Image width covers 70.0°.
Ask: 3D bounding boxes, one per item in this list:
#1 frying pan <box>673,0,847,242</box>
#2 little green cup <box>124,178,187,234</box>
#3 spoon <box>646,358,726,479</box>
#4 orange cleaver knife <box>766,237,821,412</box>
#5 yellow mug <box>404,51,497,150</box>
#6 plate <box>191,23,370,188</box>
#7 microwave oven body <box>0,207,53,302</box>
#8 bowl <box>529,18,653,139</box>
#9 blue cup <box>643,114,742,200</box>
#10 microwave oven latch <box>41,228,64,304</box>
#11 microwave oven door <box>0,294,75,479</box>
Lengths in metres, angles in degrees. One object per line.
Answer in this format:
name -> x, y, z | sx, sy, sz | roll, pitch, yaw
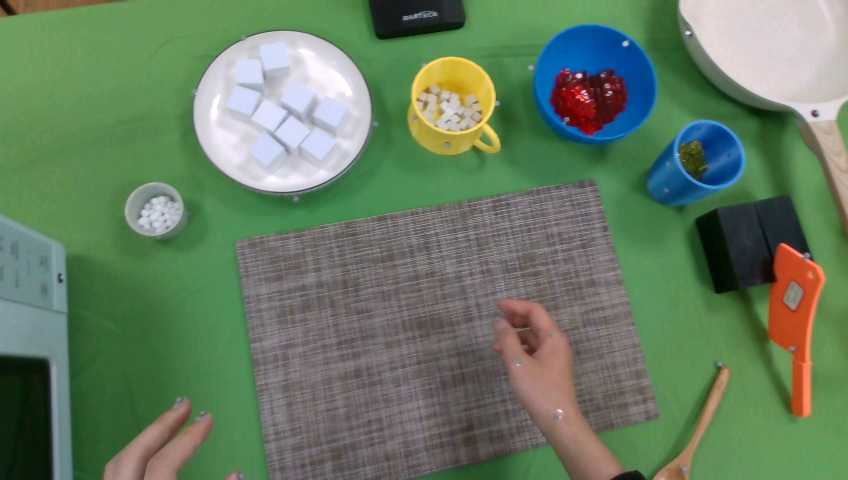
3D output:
frying pan -> 0.479, -0.212, 0.778 | 0.307, 0.103, 0.484 | -6, 71, -6
little green cup -> -0.302, -0.036, 0.688 | 0.061, 0.039, 0.061 | 1, 79, -6
spoon -> 0.315, 0.222, 0.711 | 0.041, 0.022, 0.193 | 31, 76, 14
orange cleaver knife -> 0.434, 0.101, 0.719 | 0.012, 0.076, 0.212 | -11, 108, -8
yellow mug -> 0.039, -0.159, 0.739 | 0.131, 0.064, 0.100 | 41, 77, 2
plate -> -0.169, -0.159, 0.730 | 0.208, 0.039, 0.206 | 1, 78, -6
microwave oven body -> -0.514, 0.198, 0.500 | 0.326, 0.261, 0.439 | -7, 80, -8
bowl -> 0.196, -0.188, 0.756 | 0.151, 0.077, 0.150 | 1, 78, -6
blue cup -> 0.316, -0.092, 0.735 | 0.093, 0.100, 0.092 | 1, 75, -5
microwave oven latch -> -0.404, 0.029, 0.646 | 0.030, 0.029, 0.079 | -6, 80, -8
microwave oven door -> -0.364, 0.220, 0.506 | 0.039, 0.244, 0.354 | -8, 79, -7
